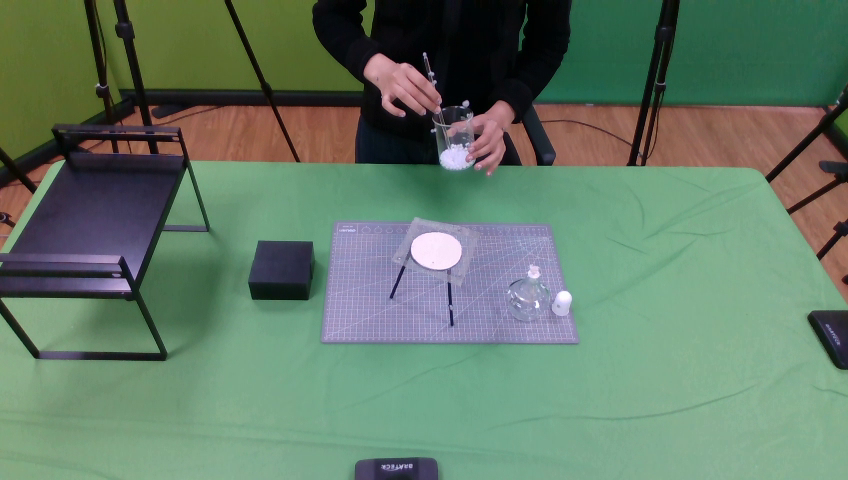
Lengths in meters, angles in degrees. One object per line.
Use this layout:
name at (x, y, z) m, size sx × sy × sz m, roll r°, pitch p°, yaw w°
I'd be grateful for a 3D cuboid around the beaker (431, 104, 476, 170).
beaker at (0.058, -0.185, 1.105) m, size 0.074 × 0.101 × 0.083 m, roll -23°, pitch 42°, yaw -14°

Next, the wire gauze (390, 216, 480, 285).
wire gauze at (0.020, 0.012, 1.009) m, size 0.125 × 0.011 × 0.121 m, roll 16°, pitch 48°, yaw 12°

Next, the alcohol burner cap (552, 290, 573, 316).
alcohol burner cap at (0.250, 0.110, 1.088) m, size 0.034 × 0.048 × 0.033 m, roll 3°, pitch 45°, yaw -3°

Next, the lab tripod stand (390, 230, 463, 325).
lab tripod stand at (0.014, 0.060, 1.056) m, size 0.148 × 0.132 × 0.147 m, roll 1°, pitch 48°, yaw -1°

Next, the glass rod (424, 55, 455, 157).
glass rod at (0.028, -0.232, 1.069) m, size 0.008 × 0.201 × 0.008 m, roll -12°, pitch 36°, yaw 9°

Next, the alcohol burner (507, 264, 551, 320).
alcohol burner at (0.185, 0.086, 1.056) m, size 0.078 × 0.120 × 0.077 m, roll 1°, pitch 47°, yaw 0°
